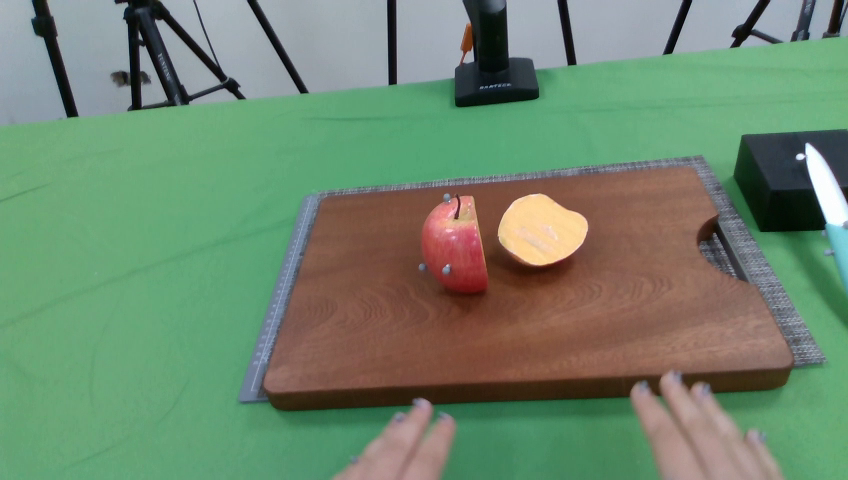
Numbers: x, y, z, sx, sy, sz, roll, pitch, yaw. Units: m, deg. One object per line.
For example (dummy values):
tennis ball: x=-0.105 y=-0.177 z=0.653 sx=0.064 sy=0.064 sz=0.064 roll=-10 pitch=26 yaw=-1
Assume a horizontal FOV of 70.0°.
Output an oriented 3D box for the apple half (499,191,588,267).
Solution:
apple half: x=0.105 y=-0.003 z=0.551 sx=0.081 sy=0.033 sz=0.080 roll=-4 pitch=55 yaw=6

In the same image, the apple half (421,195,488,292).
apple half: x=0.025 y=0.006 z=0.524 sx=0.053 sy=0.075 sz=0.080 roll=-11 pitch=42 yaw=5

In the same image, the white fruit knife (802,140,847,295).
white fruit knife: x=0.358 y=-0.008 z=0.519 sx=0.027 sy=0.016 sz=0.205 roll=-2 pitch=57 yaw=8
